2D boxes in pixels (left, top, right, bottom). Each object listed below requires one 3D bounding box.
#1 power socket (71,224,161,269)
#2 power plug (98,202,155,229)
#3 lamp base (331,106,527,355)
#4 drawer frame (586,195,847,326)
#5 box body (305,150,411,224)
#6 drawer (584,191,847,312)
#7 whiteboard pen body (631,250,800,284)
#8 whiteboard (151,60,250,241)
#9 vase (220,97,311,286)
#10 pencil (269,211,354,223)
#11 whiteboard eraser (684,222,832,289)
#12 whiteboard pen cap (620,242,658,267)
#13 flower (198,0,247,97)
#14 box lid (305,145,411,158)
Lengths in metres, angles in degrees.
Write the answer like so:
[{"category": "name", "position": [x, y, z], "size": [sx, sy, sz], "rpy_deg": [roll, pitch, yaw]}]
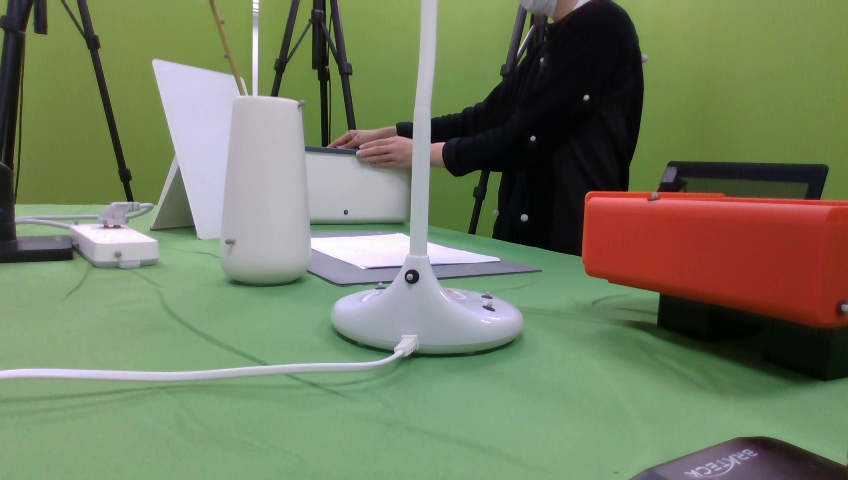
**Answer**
[{"category": "power socket", "position": [-0.408, 0.004, 0.793], "size": [0.072, 0.032, 0.225], "rpy_deg": [-2, 8, -38]}, {"category": "power plug", "position": [-0.416, -0.027, 0.848], "size": [0.073, 0.052, 0.035], "rpy_deg": [0, 8, -28]}, {"category": "lamp base", "position": [0.006, -0.012, 0.478], "size": [0.161, 0.180, 0.179], "rpy_deg": [2, 10, 2]}, {"category": "drawer frame", "position": [0.284, 0.004, 0.508], "size": [0.203, 0.082, 0.212], "rpy_deg": [-1, 6, -28]}, {"category": "box body", "position": [-0.233, -0.127, 1.374], "size": [0.366, 0.160, 0.253], "rpy_deg": [-2, 8, -29]}, {"category": "drawer", "position": [0.280, 0.001, 0.513], "size": [0.195, 0.073, 0.211], "rpy_deg": [0, 8, -28]}, {"category": "whiteboard pen body", "position": [0.239, 0.020, 0.512], "size": [0.017, 0.017, 0.140], "rpy_deg": [-4, 8, -41]}, {"category": "whiteboard", "position": [-0.408, -0.140, 1.093], "size": [0.143, 0.305, 0.218], "rpy_deg": [-15, 0, 25]}, {"category": "vase", "position": [-0.172, -0.052, 0.662], "size": [0.098, 0.200, 0.098], "rpy_deg": [3, 9, 0]}, {"category": "pencil", "position": [-0.245, -0.049, 1.337], "size": [0.195, 0.012, 0.012], "rpy_deg": [6, 5, -26]}, {"category": "whiteboard eraser", "position": [0.304, 0.013, 0.558], "size": [0.056, 0.042, 0.112], "rpy_deg": [-10, 20, -30]}, {"category": "whiteboard pen cap", "position": [0.199, 0.013, 0.557], "size": [0.018, 0.018, 0.033], "rpy_deg": [-4, 16, -39]}, {"category": "flower", "position": [-0.187, -0.133, 0.648], "size": [0.038, 0.362, 0.044], "rpy_deg": [0, 22, 43]}, {"category": "box lid", "position": [-0.232, -0.200, 1.363], "size": [0.373, 0.015, 0.262], "rpy_deg": [0, 7, -29]}]
